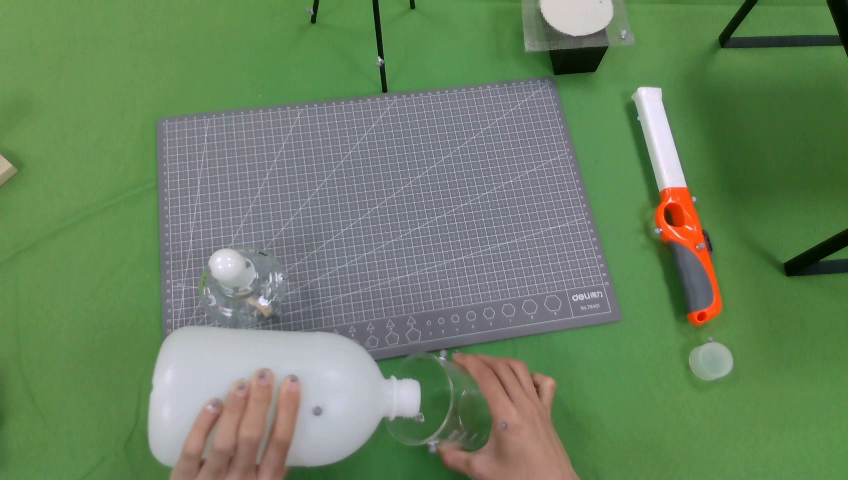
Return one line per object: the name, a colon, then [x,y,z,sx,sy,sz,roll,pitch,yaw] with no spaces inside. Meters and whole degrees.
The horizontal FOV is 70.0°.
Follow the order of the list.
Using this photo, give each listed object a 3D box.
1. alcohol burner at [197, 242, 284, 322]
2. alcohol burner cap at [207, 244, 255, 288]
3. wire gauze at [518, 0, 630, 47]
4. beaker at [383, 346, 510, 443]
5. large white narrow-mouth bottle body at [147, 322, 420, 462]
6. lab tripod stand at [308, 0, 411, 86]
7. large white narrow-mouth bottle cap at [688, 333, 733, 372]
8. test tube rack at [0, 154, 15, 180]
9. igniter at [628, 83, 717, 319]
alcohol burner: [-0.169,0.032,0.548,0.078,0.120,0.077,2,68,-5]
alcohol burner cap: [-0.166,0.021,0.514,0.034,0.048,0.033,0,75,-1]
wire gauze: [0.166,-0.273,0.691,0.121,0.011,0.124,-1,70,-4]
beaker: [0.021,0.139,0.530,0.084,0.101,0.073,-19,61,34]
large white narrow-mouth bottle body: [-0.100,0.118,0.469,0.195,0.102,0.101,4,69,-12]
lab tripod stand: [-0.062,-0.264,0.656,0.148,0.132,0.147,2,71,-5]
large white narrow-mouth bottle cap: [0.286,0.113,0.607,0.038,0.024,0.037,1,69,-3]
test tube rack: [-0.523,-0.024,0.559,0.066,0.085,0.242,39,72,10]
igniter: [0.269,-0.050,0.660,0.057,0.025,0.274,-1,70,-16]
